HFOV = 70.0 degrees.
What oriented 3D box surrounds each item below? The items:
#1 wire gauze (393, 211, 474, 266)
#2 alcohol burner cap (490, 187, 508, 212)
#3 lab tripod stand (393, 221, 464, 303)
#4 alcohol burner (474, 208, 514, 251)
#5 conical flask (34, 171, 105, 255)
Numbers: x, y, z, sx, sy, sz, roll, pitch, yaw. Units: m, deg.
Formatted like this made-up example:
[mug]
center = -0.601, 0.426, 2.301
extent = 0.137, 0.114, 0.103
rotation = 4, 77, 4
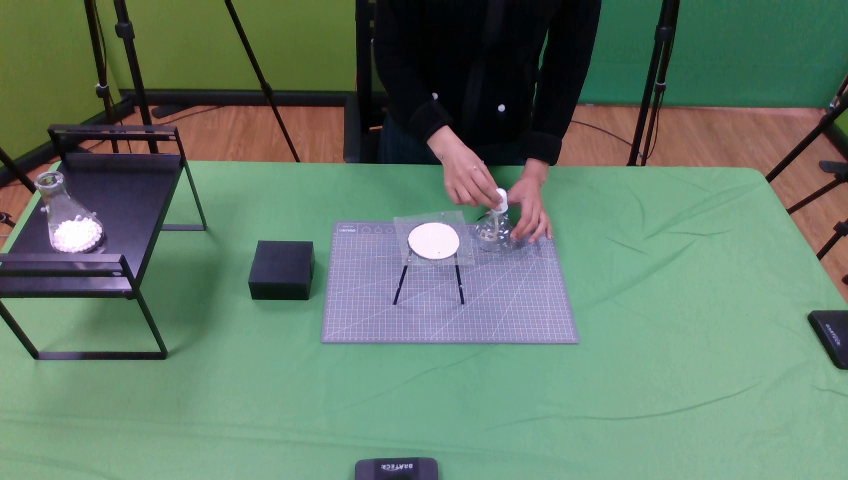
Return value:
[wire gauze]
center = 0.015, -0.003, 1.028
extent = 0.125, 0.011, 0.120
rotation = -4, 47, -7
[alcohol burner cap]
center = 0.140, -0.077, 1.123
extent = 0.034, 0.048, 0.033
rotation = 0, 54, 0
[lab tripod stand]
center = 0.009, 0.045, 1.075
extent = 0.148, 0.132, 0.147
rotation = 2, 48, -2
[alcohol burner]
center = 0.137, -0.035, 1.175
extent = 0.078, 0.120, 0.077
rotation = 1, 48, -1
[conical flask]
center = -0.522, -0.043, 0.879
extent = 0.075, 0.122, 0.075
rotation = 2, 46, -2
